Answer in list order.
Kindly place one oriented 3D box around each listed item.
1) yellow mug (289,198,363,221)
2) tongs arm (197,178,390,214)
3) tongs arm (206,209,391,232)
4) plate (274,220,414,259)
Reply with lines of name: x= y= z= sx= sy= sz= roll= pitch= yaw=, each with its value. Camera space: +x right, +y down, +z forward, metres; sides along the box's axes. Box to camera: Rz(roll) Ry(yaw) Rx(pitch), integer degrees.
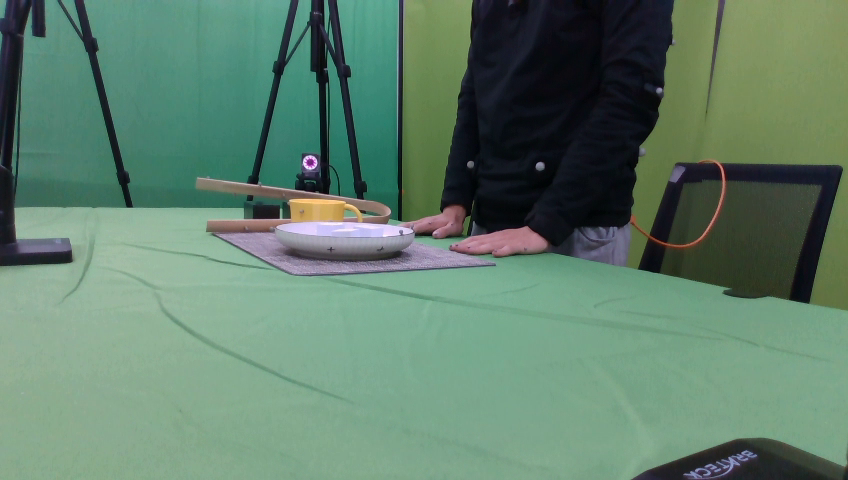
yellow mug: x=-0.174 y=-0.039 z=1.071 sx=0.131 sy=0.064 sz=0.100 roll=3 pitch=6 yaw=0
tongs arm: x=-0.256 y=-0.083 z=1.230 sx=0.387 sy=0.026 sz=0.050 roll=5 pitch=30 yaw=-26
tongs arm: x=-0.224 y=-0.037 z=1.170 sx=0.390 sy=0.028 sz=0.028 roll=-4 pitch=31 yaw=-36
plate: x=-0.118 y=-0.001 z=0.903 sx=0.208 sy=0.039 sz=0.207 roll=3 pitch=7 yaw=0
